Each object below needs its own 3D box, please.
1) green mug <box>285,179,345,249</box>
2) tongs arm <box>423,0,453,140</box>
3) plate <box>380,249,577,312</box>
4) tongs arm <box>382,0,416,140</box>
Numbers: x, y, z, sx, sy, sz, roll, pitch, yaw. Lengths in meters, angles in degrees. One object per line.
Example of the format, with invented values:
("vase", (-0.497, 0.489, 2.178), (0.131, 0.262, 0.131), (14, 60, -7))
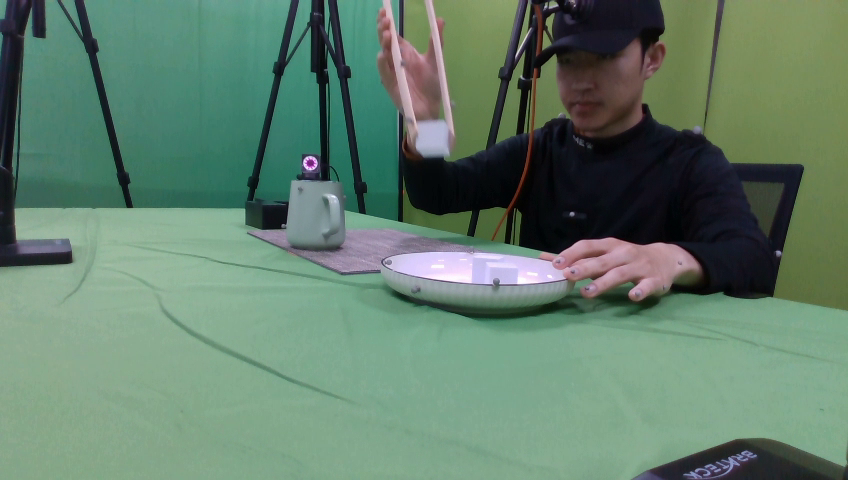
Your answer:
("green mug", (-0.161, -0.040, 0.937), (0.093, 0.105, 0.124), (-2, 8, -32))
("tongs arm", (0.003, -0.273, 0.793), (0.028, 0.386, 0.028), (-5, -37, -6))
("plate", (0.056, 0.042, 0.646), (0.209, 0.038, 0.209), (2, 7, 0))
("tongs arm", (-0.025, -0.272, 0.789), (0.051, 0.026, 0.383), (-5, 54, -10))
